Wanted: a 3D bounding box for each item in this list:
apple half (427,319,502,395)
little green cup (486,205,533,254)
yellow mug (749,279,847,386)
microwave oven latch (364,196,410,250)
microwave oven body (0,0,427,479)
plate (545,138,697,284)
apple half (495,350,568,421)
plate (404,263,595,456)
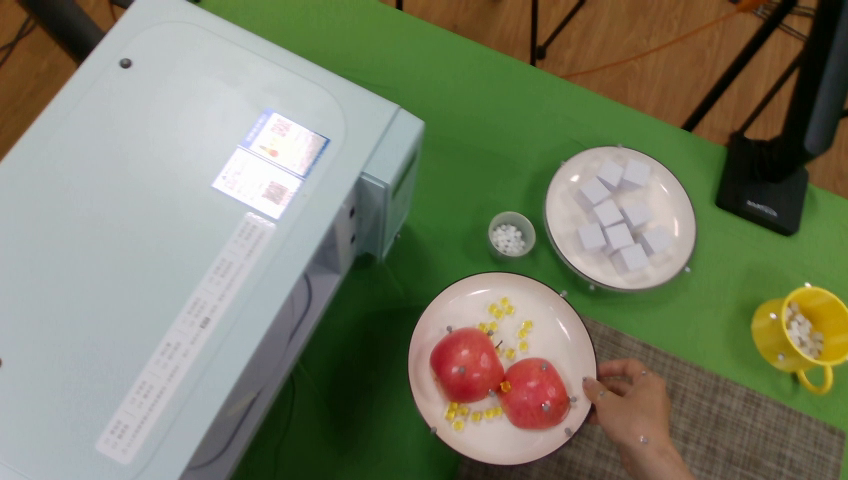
[{"bbox_3d":[0.043,0.124,0.648,0.075,0.053,0.080,-20,75,-8],"label":"apple half"},{"bbox_3d":[0.110,-0.011,0.793,0.061,0.039,0.061,1,75,-5],"label":"little green cup"},{"bbox_3d":[0.488,0.121,0.781,0.100,0.064,0.130,-4,73,-8],"label":"yellow mug"},{"bbox_3d":[-0.046,-0.028,0.761,0.030,0.029,0.079,29,72,3],"label":"microwave oven latch"},{"bbox_3d":[-0.247,0.022,0.620,0.326,0.261,0.440,27,72,2],"label":"microwave oven body"},{"bbox_3d":[0.263,-0.038,0.821,0.208,0.039,0.206,2,72,-6],"label":"plate"},{"bbox_3d":[0.118,0.156,0.653,0.081,0.033,0.080,1,69,-3],"label":"apple half"},{"bbox_3d":[0.081,0.129,0.665,0.209,0.038,0.207,2,71,-4],"label":"plate"}]
